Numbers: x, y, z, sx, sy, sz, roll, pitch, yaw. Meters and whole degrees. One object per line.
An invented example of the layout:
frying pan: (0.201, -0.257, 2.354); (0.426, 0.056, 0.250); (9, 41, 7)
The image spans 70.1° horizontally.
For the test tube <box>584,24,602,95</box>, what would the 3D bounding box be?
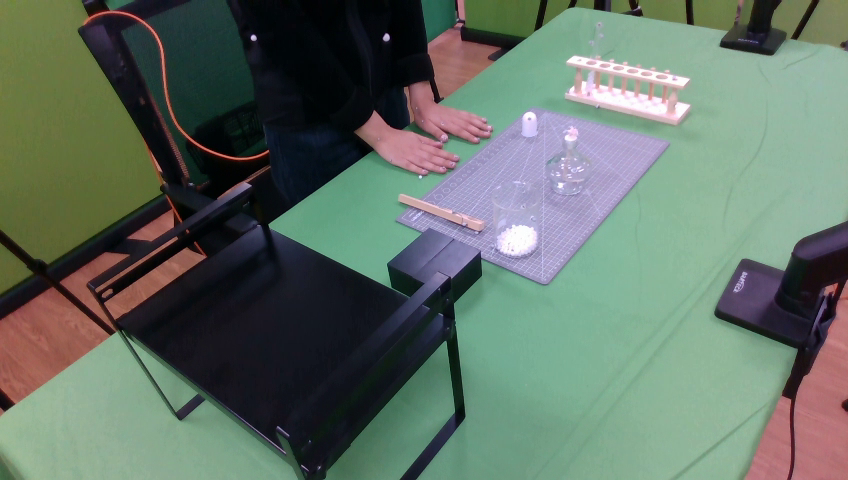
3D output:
test tube: (0.342, -0.362, 1.226); (0.017, 0.151, 0.017); (-2, 44, 2)

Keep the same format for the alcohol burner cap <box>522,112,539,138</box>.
alcohol burner cap: (0.210, -0.230, 1.195); (0.034, 0.048, 0.033); (-5, 41, 5)

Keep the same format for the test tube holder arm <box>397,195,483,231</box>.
test tube holder arm: (0.024, -0.048, 1.026); (0.177, 0.015, 0.013); (20, 17, 31)

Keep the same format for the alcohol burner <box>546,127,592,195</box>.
alcohol burner: (0.246, -0.137, 1.024); (0.078, 0.119, 0.077); (-4, 38, 4)

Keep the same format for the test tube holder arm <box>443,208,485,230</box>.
test tube holder arm: (0.063, -0.035, 1.007); (0.087, 0.015, 0.010); (21, 18, 33)

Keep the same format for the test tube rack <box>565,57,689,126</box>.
test tube rack: (0.412, -0.311, 1.230); (0.240, 0.085, 0.067); (23, 49, 32)

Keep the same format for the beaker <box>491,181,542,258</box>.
beaker: (0.144, -0.030, 0.925); (0.073, 0.101, 0.084); (23, 48, 31)
